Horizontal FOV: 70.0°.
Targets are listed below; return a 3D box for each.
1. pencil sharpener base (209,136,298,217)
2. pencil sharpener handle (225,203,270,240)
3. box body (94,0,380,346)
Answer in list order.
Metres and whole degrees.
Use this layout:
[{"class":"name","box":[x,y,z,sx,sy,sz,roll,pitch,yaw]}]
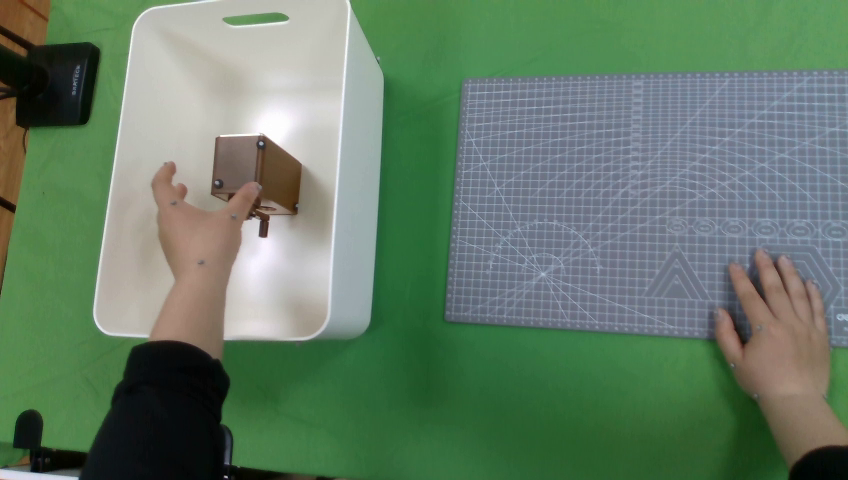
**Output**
[{"class":"pencil sharpener base","box":[-0.198,-0.068,0.714,0.061,0.107,0.076,0,80,11]},{"class":"pencil sharpener handle","box":[-0.199,-0.020,0.693,0.036,0.068,0.030,-2,80,21]},{"class":"box body","box":[-0.190,-0.062,0.690,0.253,0.161,0.362,-1,79,12]}]
